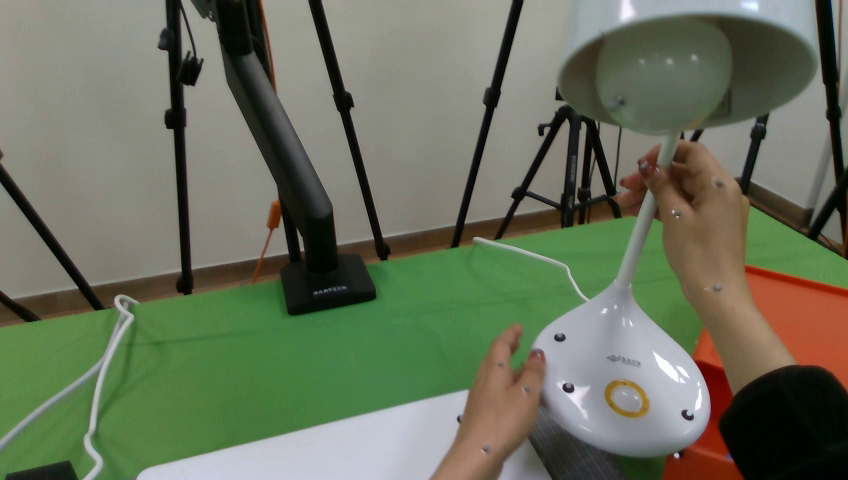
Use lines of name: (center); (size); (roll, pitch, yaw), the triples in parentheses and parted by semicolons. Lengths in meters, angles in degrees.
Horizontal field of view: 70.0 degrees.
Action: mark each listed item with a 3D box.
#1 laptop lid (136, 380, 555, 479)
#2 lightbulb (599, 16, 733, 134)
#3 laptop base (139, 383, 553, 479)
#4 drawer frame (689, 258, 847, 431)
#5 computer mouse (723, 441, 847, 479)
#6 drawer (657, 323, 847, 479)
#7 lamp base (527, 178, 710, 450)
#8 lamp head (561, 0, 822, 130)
laptop lid: (-0.058, 0.231, 0.500); (0.357, 0.013, 0.239); (-9, 32, -13)
lightbulb: (0.118, -0.104, 0.292); (0.059, 0.107, 0.060); (10, -11, 2)
laptop base: (-0.058, 0.240, 0.508); (0.355, 0.023, 0.233); (-10, 34, -15)
drawer frame: (0.396, 0.120, 0.638); (0.200, 0.083, 0.213); (15, 33, 27)
computer mouse: (0.315, 0.211, 0.515); (0.116, 0.041, 0.062); (14, 33, 20)
drawer: (0.339, 0.171, 0.557); (0.193, 0.074, 0.211); (14, 32, 27)
lamp base: (0.178, 0.050, 0.511); (0.161, 0.181, 0.177); (4, 32, -2)
lamp head: (0.128, -0.126, 0.296); (0.112, 0.113, 0.122); (6, 74, 13)
